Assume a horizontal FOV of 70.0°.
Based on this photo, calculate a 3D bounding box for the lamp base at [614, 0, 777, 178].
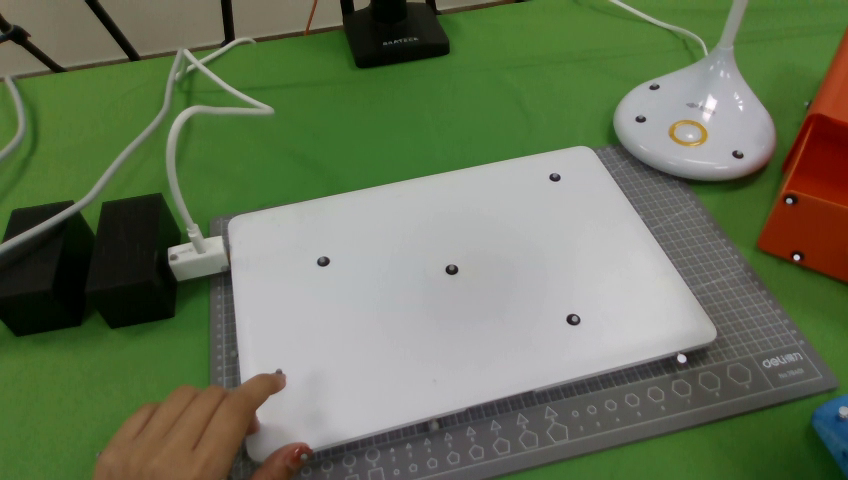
[{"bbox_3d":[0.281,-0.180,0.580,0.160,0.182,0.178,17,47,18],"label":"lamp base"}]

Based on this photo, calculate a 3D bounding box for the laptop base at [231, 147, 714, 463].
[{"bbox_3d":[0.024,0.032,0.508,0.355,0.023,0.233,-12,52,-9],"label":"laptop base"}]

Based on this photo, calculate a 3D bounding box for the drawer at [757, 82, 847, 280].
[{"bbox_3d":[0.422,-0.043,0.522,0.193,0.074,0.211,25,53,23],"label":"drawer"}]

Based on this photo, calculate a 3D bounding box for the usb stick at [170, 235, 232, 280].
[{"bbox_3d":[-0.181,0.013,0.515,0.059,0.027,0.021,-12,48,-14],"label":"usb stick"}]

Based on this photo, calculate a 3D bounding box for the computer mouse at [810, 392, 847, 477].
[{"bbox_3d":[0.307,0.146,0.384,0.063,0.041,0.116,-11,45,-5],"label":"computer mouse"}]

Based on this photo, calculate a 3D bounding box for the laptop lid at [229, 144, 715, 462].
[{"bbox_3d":[0.024,0.026,0.497,0.357,0.013,0.239,-11,51,-8],"label":"laptop lid"}]

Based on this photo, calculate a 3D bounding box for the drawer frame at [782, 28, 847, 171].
[{"bbox_3d":[0.484,-0.114,0.580,0.200,0.083,0.213,25,53,23],"label":"drawer frame"}]
